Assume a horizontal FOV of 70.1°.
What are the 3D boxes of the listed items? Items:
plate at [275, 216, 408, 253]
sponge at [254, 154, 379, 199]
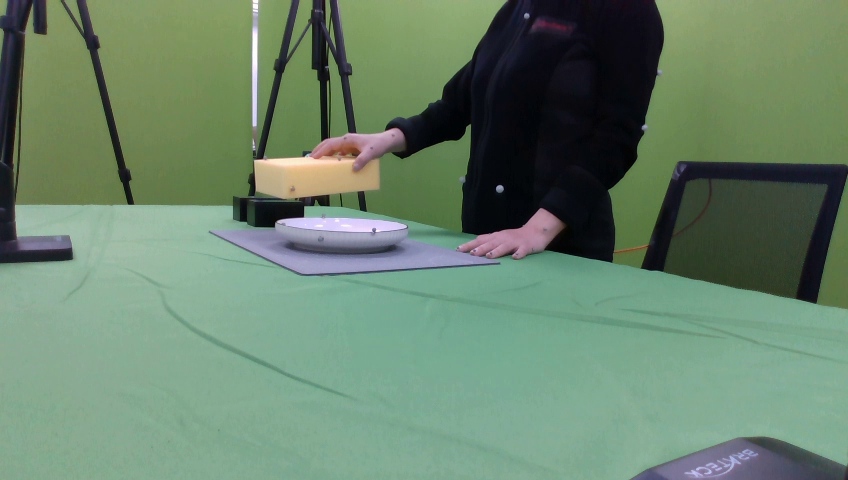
[{"bbox_3d":[-0.129,-0.009,0.954,0.209,0.038,0.209,2,7,0],"label":"plate"},{"bbox_3d":[-0.203,-0.125,1.155,0.208,0.061,0.117,-11,17,-39],"label":"sponge"}]
